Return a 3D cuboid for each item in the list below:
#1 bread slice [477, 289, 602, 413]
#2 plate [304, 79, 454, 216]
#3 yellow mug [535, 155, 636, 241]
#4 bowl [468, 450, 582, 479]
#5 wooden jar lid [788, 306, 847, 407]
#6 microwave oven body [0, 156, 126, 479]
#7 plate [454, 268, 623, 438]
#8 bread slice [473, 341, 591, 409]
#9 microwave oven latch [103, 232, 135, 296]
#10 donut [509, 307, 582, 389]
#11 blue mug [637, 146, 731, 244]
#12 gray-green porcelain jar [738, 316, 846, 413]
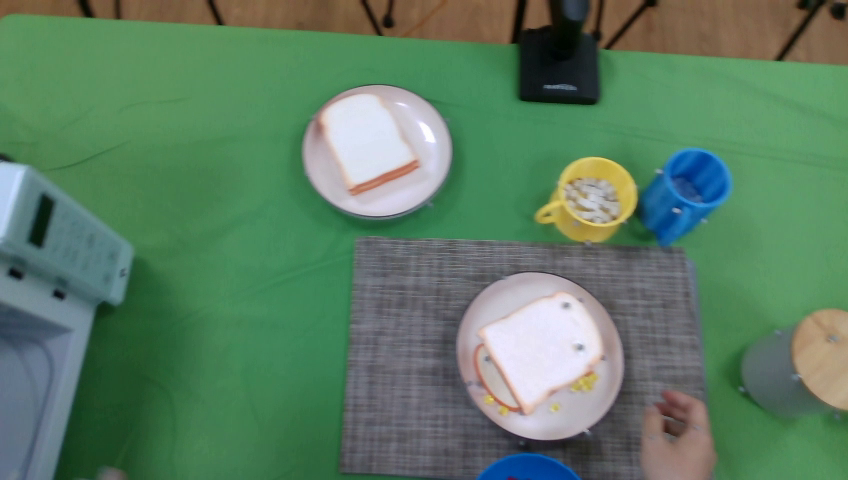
[{"bbox_3d":[0.138,0.117,0.701,0.134,0.018,0.106,-30,80,-18],"label":"bread slice"},{"bbox_3d":[-0.062,-0.127,0.850,0.208,0.039,0.206,0,71,-1],"label":"plate"},{"bbox_3d":[0.212,-0.051,0.813,0.131,0.064,0.099,-17,71,-6],"label":"yellow mug"},{"bbox_3d":[0.110,0.313,0.678,0.151,0.077,0.150,0,71,-1],"label":"bowl"},{"bbox_3d":[0.446,0.126,0.657,0.108,0.021,0.108,1,73,-3],"label":"wooden jar lid"},{"bbox_3d":[-0.553,0.151,0.621,0.326,0.261,0.439,5,71,0],"label":"microwave oven body"},{"bbox_3d":[0.140,0.139,0.756,0.209,0.038,0.207,0,71,-1],"label":"plate"},{"bbox_3d":[0.130,0.148,0.756,0.131,0.019,0.104,-28,73,-13],"label":"bread slice"},{"bbox_3d":[-0.392,0.030,0.769,0.030,0.029,0.078,7,71,1],"label":"microwave oven latch"},{"bbox_3d":[0.147,0.130,0.731,0.099,0.048,0.098,9,68,-23],"label":"donut"},{"bbox_3d":[0.333,-0.048,0.794,0.082,0.106,0.116,23,72,7],"label":"blue mug"},{"bbox_3d":[0.446,0.148,0.716,0.106,0.127,0.105,0,71,-1],"label":"gray-green porcelain jar"}]
